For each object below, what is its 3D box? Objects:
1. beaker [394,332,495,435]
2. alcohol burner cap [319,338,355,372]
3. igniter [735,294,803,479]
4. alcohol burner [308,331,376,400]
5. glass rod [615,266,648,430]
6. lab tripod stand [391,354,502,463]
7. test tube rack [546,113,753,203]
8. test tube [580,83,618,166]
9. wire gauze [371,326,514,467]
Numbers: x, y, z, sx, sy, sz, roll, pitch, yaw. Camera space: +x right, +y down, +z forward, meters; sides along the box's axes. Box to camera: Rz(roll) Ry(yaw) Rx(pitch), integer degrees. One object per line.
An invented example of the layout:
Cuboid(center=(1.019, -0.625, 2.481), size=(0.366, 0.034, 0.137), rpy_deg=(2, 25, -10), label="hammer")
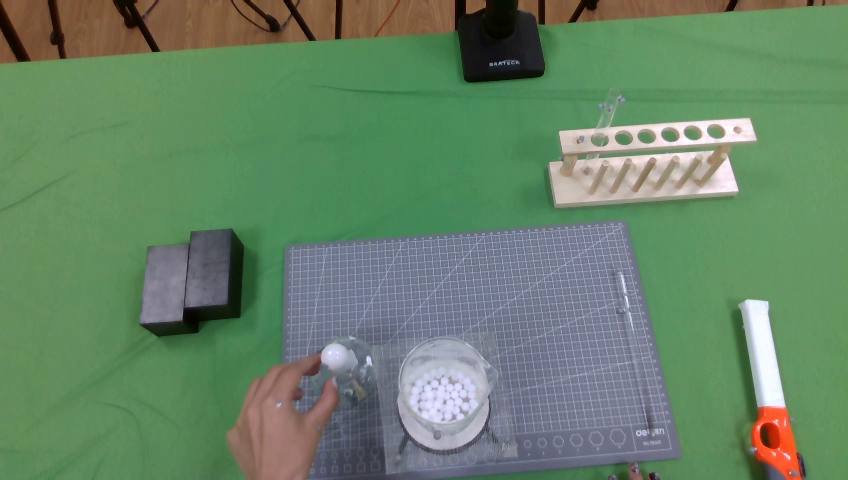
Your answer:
Cuboid(center=(0.018, 0.130, 0.534), size=(0.084, 0.101, 0.073), rpy_deg=(-9, 65, -3), label="beaker")
Cuboid(center=(-0.093, 0.120, 0.636), size=(0.034, 0.048, 0.033), rpy_deg=(-2, 70, 6), label="alcohol burner cap")
Cuboid(center=(0.391, 0.194, 0.688), size=(0.057, 0.025, 0.274), rpy_deg=(7, 66, -7), label="igniter")
Cuboid(center=(-0.093, 0.134, 0.670), size=(0.078, 0.120, 0.077), rpy_deg=(0, 64, 1), label="alcohol burner")
Cuboid(center=(0.248, 0.125, 0.727), size=(0.008, 0.008, 0.198), rpy_deg=(-3, 69, -1), label="glass rod")
Cuboid(center=(0.017, 0.177, 0.639), size=(0.148, 0.132, 0.147), rpy_deg=(-1, 65, 3), label="lab tripod stand")
Cuboid(center=(0.290, -0.105, 0.789), size=(0.242, 0.086, 0.066), rpy_deg=(-4, 66, -1), label="test tube rack")
Cuboid(center=(0.215, -0.138, 0.751), size=(0.017, 0.151, 0.017), rpy_deg=(-1, 63, 2), label="test tube")
Cuboid(center=(0.015, 0.147, 0.580), size=(0.125, 0.011, 0.120), rpy_deg=(-8, 64, 0), label="wire gauze")
